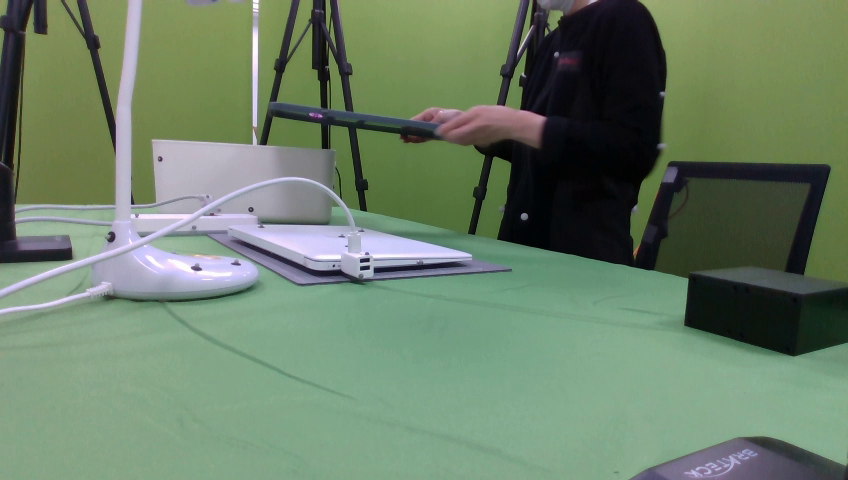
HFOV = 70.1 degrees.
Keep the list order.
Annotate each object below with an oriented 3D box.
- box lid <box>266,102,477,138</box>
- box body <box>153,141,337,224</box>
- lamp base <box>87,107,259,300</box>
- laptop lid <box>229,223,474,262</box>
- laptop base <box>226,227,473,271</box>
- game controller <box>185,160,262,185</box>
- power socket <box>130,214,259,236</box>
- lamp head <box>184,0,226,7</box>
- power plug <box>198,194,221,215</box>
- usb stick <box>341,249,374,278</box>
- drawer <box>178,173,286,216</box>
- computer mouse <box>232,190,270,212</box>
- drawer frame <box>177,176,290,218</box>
[{"bbox_3d":[-0.107,-0.221,1.144,0.373,0.015,0.262,5,6,-14],"label":"box lid"},{"bbox_3d":[-0.380,-0.130,1.344,0.365,0.160,0.253,1,7,-9],"label":"box body"},{"bbox_3d":[-0.254,-0.039,0.603,0.160,0.180,0.179,5,10,18],"label":"lamp base"},{"bbox_3d":[-0.121,0.000,0.888,0.243,0.013,0.355,1,7,-33],"label":"laptop lid"},{"bbox_3d":[-0.124,0.011,0.888,0.237,0.023,0.352,2,6,-35],"label":"laptop base"},{"bbox_3d":[-0.441,-0.147,1.320,0.156,0.051,0.096,-2,4,-36],"label":"game controller"},{"bbox_3d":[-0.397,-0.028,1.048,0.228,0.032,0.072,-3,7,-35],"label":"power socket"},{"bbox_3d":[-0.229,-0.320,0.627,0.112,0.112,0.123,6,-35,26],"label":"lamp head"},{"bbox_3d":[-0.386,-0.055,1.088,0.035,0.052,0.072,-1,7,-23],"label":"power plug"},{"bbox_3d":[-0.079,0.026,0.686,0.021,0.027,0.059,-7,9,-31],"label":"usb stick"},{"bbox_3d":[-0.414,-0.105,1.340,0.212,0.073,0.194,6,6,-12],"label":"drawer"},{"bbox_3d":[-0.382,-0.087,1.342,0.063,0.041,0.117,9,10,-4],"label":"computer mouse"},{"bbox_3d":[-0.410,-0.099,1.338,0.214,0.082,0.201,-4,6,-11],"label":"drawer frame"}]
